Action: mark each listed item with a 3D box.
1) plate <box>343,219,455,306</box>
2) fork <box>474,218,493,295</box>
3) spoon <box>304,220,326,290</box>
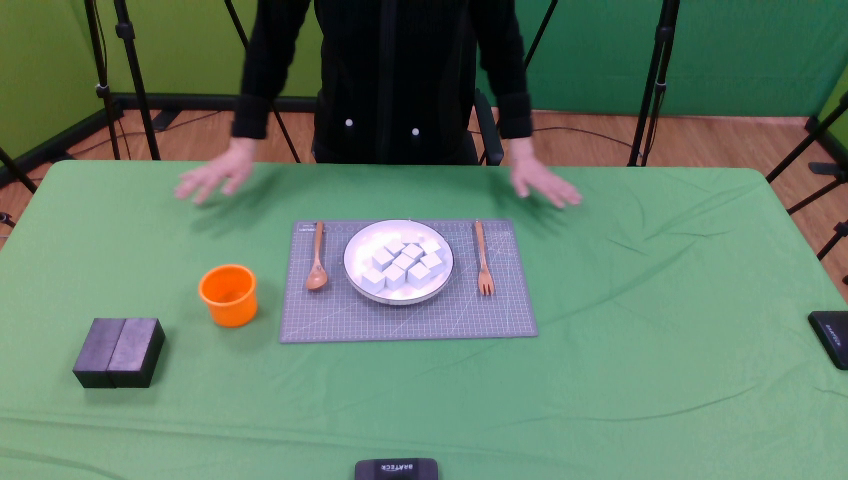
[{"bbox_3d":[-0.047,0.045,1.136,0.208,0.039,0.206,2,46,-2],"label":"plate"},{"bbox_3d":[0.112,0.029,1.177,0.028,0.019,0.206,-2,48,0],"label":"fork"},{"bbox_3d":[-0.204,0.024,1.153,0.041,0.022,0.192,-15,46,9],"label":"spoon"}]
